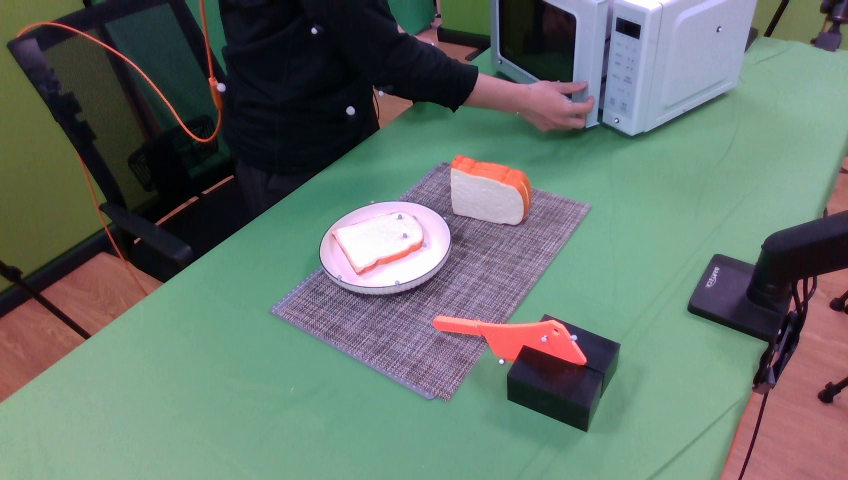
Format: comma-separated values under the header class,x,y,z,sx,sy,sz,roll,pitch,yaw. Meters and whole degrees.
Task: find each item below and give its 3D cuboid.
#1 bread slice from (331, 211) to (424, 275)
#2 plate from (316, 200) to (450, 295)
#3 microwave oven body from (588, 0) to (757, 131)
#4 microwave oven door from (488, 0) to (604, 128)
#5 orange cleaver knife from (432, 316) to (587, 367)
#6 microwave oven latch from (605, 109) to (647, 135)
class,x,y,z,sx,sy,sz,roll,pitch,yaw
bread slice,-0.069,-0.001,0.960,0.135,0.018,0.106,-23,46,-21
plate,-0.062,0.015,0.944,0.207,0.039,0.206,-4,41,4
microwave oven body,0.396,-0.448,1.248,0.327,0.261,0.437,-27,44,-21
microwave oven door,0.235,-0.405,1.213,0.039,0.245,0.352,-22,43,-17
orange cleaver knife,0.101,0.127,0.761,0.210,0.077,0.012,-1,34,40
microwave oven latch,0.379,-0.225,1.139,0.030,0.029,0.078,-26,43,-19
